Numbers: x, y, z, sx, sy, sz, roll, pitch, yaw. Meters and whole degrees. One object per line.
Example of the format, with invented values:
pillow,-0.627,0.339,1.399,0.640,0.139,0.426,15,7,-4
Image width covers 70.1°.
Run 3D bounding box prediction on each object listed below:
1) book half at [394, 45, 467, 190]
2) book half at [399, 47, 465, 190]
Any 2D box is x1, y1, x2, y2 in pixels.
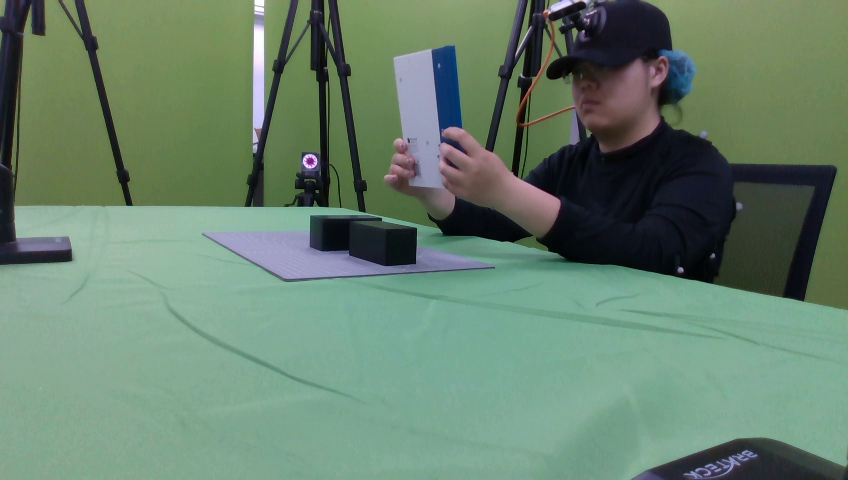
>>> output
book half,0.008,-0.186,0.947,0.016,0.210,0.148,-15,16,-34
book half,0.012,-0.186,0.951,0.007,0.210,0.142,-15,15,-33
